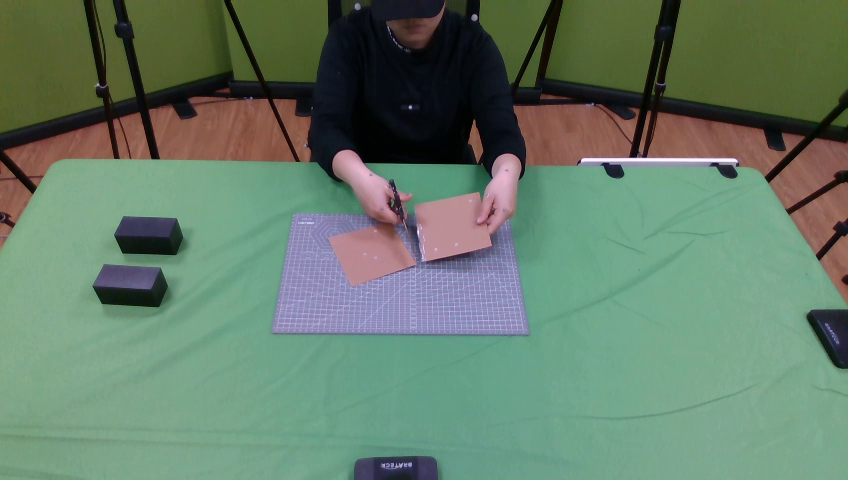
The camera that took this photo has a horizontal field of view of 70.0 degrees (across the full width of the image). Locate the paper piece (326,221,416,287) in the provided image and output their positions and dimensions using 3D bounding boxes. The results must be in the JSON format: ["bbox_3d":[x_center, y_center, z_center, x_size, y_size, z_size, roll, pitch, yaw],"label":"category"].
[{"bbox_3d":[-0.105,0.022,1.173,0.135,0.004,0.135,-17,49,-19],"label":"paper piece"}]

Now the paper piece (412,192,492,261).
[{"bbox_3d":[0.053,-0.028,1.179,0.138,0.009,0.135,-10,61,3],"label":"paper piece"}]

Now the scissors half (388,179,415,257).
[{"bbox_3d":[-0.043,-0.045,1.175,0.013,0.040,0.174,-18,68,-2],"label":"scissors half"}]

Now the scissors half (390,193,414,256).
[{"bbox_3d":[-0.042,-0.033,1.192,0.013,0.040,0.174,-15,48,-6],"label":"scissors half"}]
